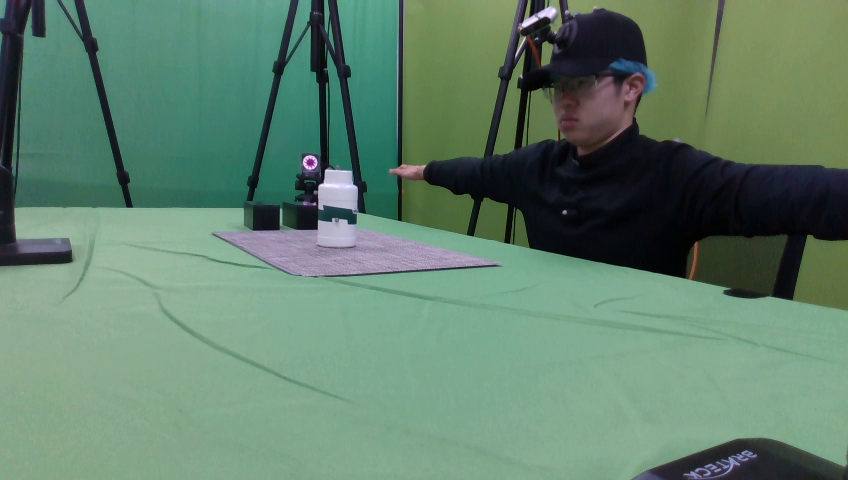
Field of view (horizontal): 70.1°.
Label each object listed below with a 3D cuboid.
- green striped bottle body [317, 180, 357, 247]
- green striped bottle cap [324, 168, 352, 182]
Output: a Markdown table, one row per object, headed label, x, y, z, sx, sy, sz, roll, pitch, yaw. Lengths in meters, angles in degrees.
| label | x | y | z | sx | sy | sz | roll | pitch | yaw |
| --- | --- | --- | --- | --- | --- | --- | --- | --- | --- |
| green striped bottle body | -0.139 | -0.051 | 0.964 | 0.063 | 0.119 | 0.063 | 2 | 7 | 0 |
| green striped bottle cap | -0.136 | -0.103 | 0.959 | 0.044 | 0.020 | 0.044 | 4 | 9 | 0 |
